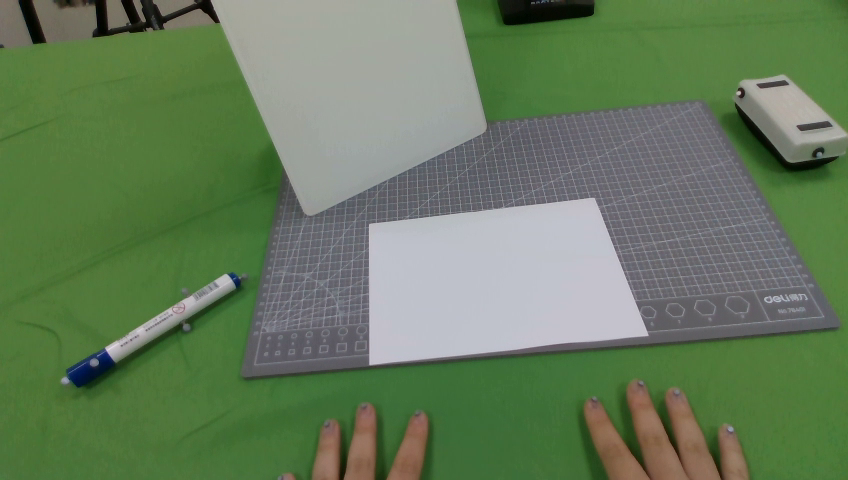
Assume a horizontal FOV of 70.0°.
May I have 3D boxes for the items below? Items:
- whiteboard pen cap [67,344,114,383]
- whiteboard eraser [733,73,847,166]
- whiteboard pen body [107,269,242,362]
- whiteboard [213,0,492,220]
[{"bbox_3d":[-0.257,0.094,0.470,0.033,0.018,0.018,-36,52,-26],"label":"whiteboard pen cap"},{"bbox_3d":[0.350,-0.116,0.582,0.055,0.042,0.111,-11,47,0],"label":"whiteboard eraser"},{"bbox_3d":[-0.213,0.065,0.495,0.141,0.017,0.017,-35,52,-25],"label":"whiteboard pen body"},{"bbox_3d":[-0.092,-0.216,0.593,0.217,0.308,0.142,-28,29,-17],"label":"whiteboard"}]
